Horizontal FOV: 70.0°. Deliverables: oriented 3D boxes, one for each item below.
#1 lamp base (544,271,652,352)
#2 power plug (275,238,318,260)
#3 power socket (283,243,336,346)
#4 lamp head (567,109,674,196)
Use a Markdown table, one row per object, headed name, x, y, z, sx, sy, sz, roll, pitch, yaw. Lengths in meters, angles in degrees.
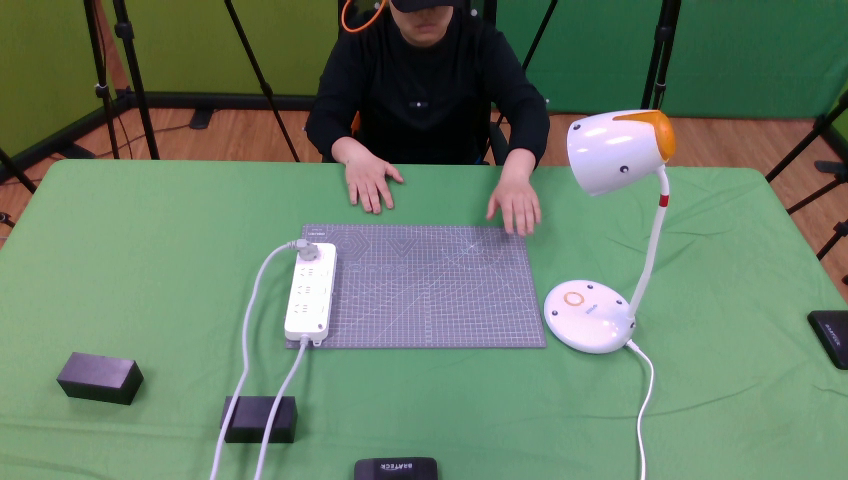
| name | x | y | z | sx | sy | sz | roll | pitch | yaw |
| --- | --- | --- | --- | --- | --- | --- | --- | --- | --- |
| lamp base | 0.309 | 0.086 | 1.029 | 0.178 | 0.181 | 0.160 | 32 | 52 | 21 |
| power plug | -0.232 | 0.018 | 1.119 | 0.072 | 0.053 | 0.035 | 9 | 46 | 6 |
| power socket | -0.202 | 0.088 | 1.086 | 0.072 | 0.033 | 0.225 | 1 | 46 | -2 |
| lamp head | 0.272 | -0.123 | 0.818 | 0.122 | 0.113 | 0.112 | -9 | 35 | 37 |
